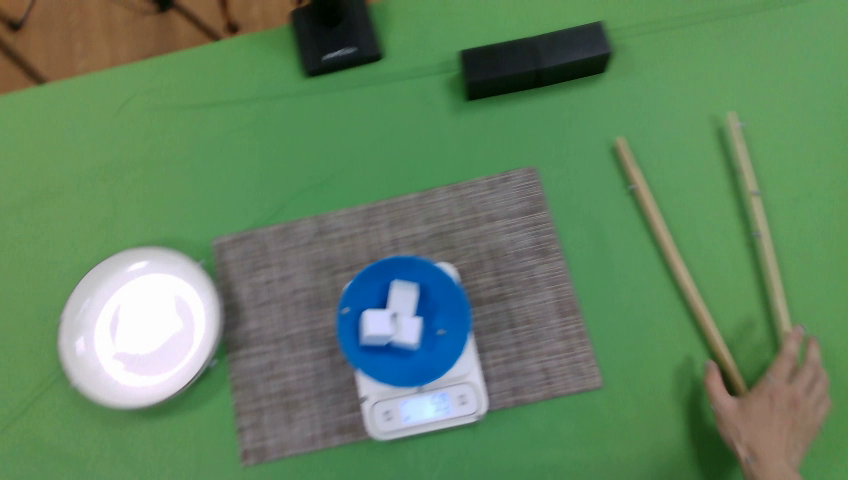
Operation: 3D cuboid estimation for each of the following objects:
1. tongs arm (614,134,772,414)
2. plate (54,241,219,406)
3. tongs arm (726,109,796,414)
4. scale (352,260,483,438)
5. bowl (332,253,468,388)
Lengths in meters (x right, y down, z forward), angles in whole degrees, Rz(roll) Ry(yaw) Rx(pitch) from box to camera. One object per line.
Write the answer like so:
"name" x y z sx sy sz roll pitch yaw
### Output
"tongs arm" 0.324 0.034 0.759 0.028 0.028 0.385 -19 73 -3
"plate" -0.360 0.105 0.773 0.207 0.039 0.206 -1 74 3
"tongs arm" 0.403 0.017 0.753 0.051 0.027 0.382 -8 74 4
"scale" -0.018 0.130 0.744 0.149 0.032 0.199 -12 74 0
"bowl" -0.024 0.096 0.699 0.151 0.077 0.150 -1 74 2
